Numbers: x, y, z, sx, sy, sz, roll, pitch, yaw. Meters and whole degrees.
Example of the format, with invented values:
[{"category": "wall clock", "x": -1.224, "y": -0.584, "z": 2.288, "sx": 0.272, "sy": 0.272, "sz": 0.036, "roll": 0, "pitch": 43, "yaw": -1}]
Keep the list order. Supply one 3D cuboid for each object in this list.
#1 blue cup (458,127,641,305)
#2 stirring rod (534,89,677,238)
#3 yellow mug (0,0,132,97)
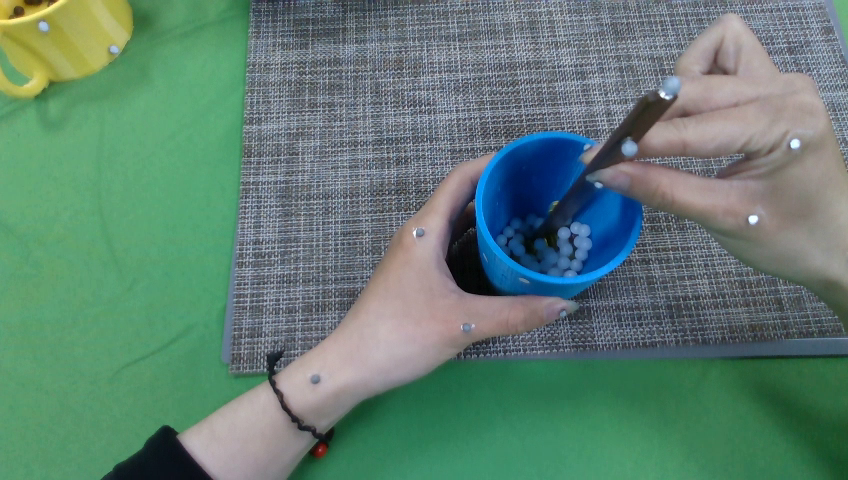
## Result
[{"category": "blue cup", "x": 0.068, "y": -0.003, "z": 0.353, "sx": 0.092, "sy": 0.101, "sz": 0.092, "roll": 0, "pitch": 71, "yaw": 1}, {"category": "stirring rod", "x": 0.082, "y": -0.029, "z": 0.306, "sx": 0.014, "sy": 0.177, "sz": 0.006, "roll": -18, "pitch": 76, "yaw": -9}, {"category": "yellow mug", "x": -0.283, "y": -0.165, "z": 0.441, "sx": 0.100, "sy": 0.064, "sz": 0.130, "roll": 9, "pitch": 70, "yaw": 4}]
